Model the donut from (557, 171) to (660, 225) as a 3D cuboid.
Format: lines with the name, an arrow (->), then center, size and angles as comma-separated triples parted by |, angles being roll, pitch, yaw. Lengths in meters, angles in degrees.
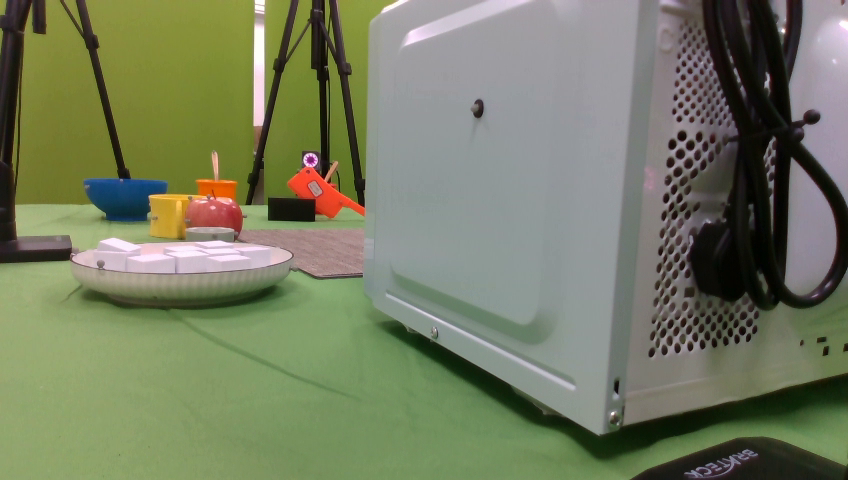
donut -> 0.181, -0.041, 0.600 | 0.099, 0.048, 0.099 | 9, 6, -1

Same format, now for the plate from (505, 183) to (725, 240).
plate -> 0.184, -0.029, 0.602 | 0.209, 0.038, 0.209 | 5, 7, 0

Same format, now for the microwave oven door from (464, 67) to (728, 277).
microwave oven door -> 0.207, -0.096, 0.815 | 0.354, 0.243, 0.039 | 9, 11, 42

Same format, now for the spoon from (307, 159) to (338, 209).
spoon -> -0.257, -0.147, 1.567 | 0.041, 0.022, 0.193 | 1, 50, 20

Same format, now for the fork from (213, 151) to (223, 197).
fork -> -0.493, -0.143, 1.442 | 0.028, 0.018, 0.206 | -3, 52, -18

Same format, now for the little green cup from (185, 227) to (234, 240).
little green cup -> -0.285, 0.005, 0.805 | 0.061, 0.038, 0.061 | 2, 8, 0

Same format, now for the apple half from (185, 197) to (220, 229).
apple half -> -0.338, -0.031, 0.927 | 0.032, 0.081, 0.081 | 12, 12, 31

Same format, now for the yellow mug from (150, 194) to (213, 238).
yellow mug -> -0.401, -0.040, 1.003 | 0.100, 0.064, 0.130 | -1, 9, -20

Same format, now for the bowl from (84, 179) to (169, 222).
bowl -> -0.584, -0.078, 1.194 | 0.151, 0.077, 0.151 | 3, 8, 0

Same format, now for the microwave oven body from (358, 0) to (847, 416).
microwave oven body -> 0.210, -0.047, 0.475 | 0.444, 0.260, 0.324 | -1, 7, -28

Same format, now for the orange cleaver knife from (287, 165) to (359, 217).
orange cleaver knife -> -0.211, -0.092, 1.382 | 0.212, 0.077, 0.012 | 34, 1, -15

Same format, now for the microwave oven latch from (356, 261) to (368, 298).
microwave oven latch -> -0.020, 0.033, 0.530 | 0.079, 0.029, 0.030 | 0, 7, -26

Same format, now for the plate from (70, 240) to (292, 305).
plate -> -0.242, 0.031, 0.618 | 0.208, 0.039, 0.207 | 2, 8, 0

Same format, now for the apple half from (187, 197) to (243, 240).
apple half -> -0.305, -0.026, 0.907 | 0.053, 0.074, 0.081 | 12, 8, 31
